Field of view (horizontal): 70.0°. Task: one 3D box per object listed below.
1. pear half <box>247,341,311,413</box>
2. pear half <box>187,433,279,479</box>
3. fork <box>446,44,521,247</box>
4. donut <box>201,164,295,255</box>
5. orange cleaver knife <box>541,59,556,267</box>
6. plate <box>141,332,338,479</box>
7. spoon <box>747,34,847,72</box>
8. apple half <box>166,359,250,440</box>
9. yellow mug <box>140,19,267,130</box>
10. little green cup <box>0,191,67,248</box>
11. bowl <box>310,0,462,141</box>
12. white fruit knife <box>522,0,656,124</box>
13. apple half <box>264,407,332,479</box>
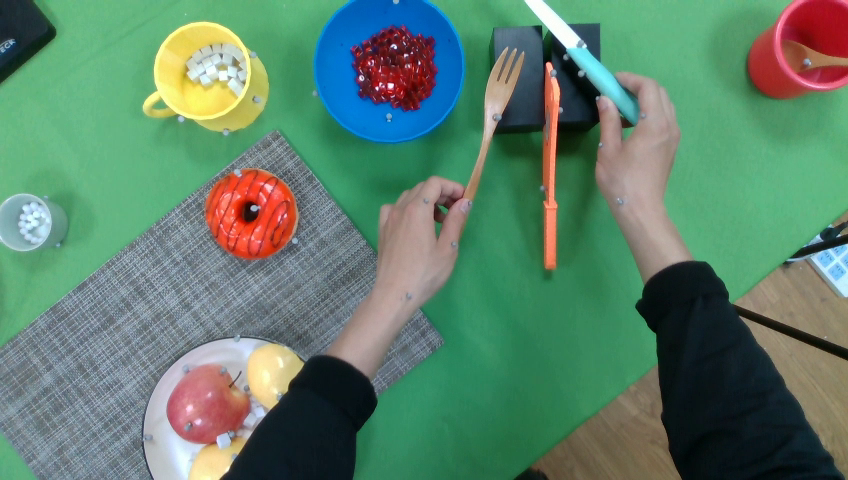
[{"bbox_3d":[-0.157,0.152,0.638,0.070,0.031,0.088,-12,94,20],"label":"pear half"},{"bbox_3d":[-0.192,0.250,0.638,0.110,0.056,0.076,12,95,-2],"label":"pear half"},{"bbox_3d":[0.054,-0.086,0.594,0.028,0.018,0.208,18,108,3],"label":"fork"},{"bbox_3d":[-0.187,-0.032,0.648,0.099,0.048,0.099,0,92,2],"label":"donut"},{"bbox_3d":[0.128,-0.076,0.629,0.012,0.076,0.213,-1,115,6],"label":"orange cleaver knife"},{"bbox_3d":[-0.193,0.201,0.652,0.209,0.038,0.209,0,90,1],"label":"plate"},{"bbox_3d":[0.418,-0.176,0.594,0.192,0.022,0.041,27,90,45],"label":"spoon"},{"bbox_3d":[-0.232,0.172,0.635,0.074,0.053,0.081,-33,93,1],"label":"apple half"},{"bbox_3d":[-0.239,-0.165,0.641,0.131,0.064,0.100,-28,90,2],"label":"yellow mug"},{"bbox_3d":[-0.424,-0.021,0.657,0.061,0.038,0.061,0,90,1],"label":"little green cup"},{"bbox_3d":[-0.037,-0.173,0.633,0.151,0.077,0.151,0,91,0],"label":"bowl"},{"bbox_3d":[0.151,-0.190,0.602,0.027,0.016,0.207,-38,82,-25],"label":"white fruit knife"},{"bbox_3d":[-0.141,0.218,0.635,0.081,0.033,0.081,4,106,17],"label":"apple half"}]
